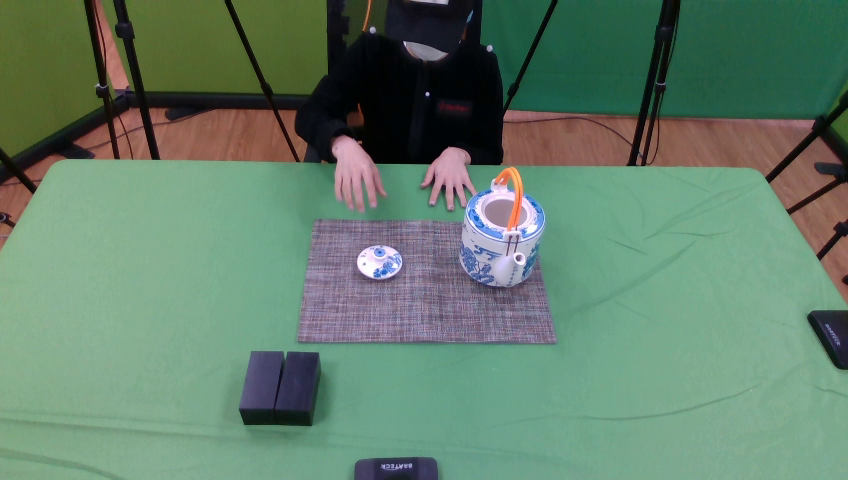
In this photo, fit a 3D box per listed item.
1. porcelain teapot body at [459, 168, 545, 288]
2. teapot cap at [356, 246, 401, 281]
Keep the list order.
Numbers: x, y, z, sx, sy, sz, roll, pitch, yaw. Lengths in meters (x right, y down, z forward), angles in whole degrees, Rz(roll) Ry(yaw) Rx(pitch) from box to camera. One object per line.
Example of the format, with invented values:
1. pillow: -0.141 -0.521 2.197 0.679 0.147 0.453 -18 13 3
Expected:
1. porcelain teapot body: 0.146 -0.006 1.070 0.145 0.226 0.204 -4 46 -8
2. teapot cap: -0.085 0.039 1.135 0.085 0.044 0.084 4 46 -4
